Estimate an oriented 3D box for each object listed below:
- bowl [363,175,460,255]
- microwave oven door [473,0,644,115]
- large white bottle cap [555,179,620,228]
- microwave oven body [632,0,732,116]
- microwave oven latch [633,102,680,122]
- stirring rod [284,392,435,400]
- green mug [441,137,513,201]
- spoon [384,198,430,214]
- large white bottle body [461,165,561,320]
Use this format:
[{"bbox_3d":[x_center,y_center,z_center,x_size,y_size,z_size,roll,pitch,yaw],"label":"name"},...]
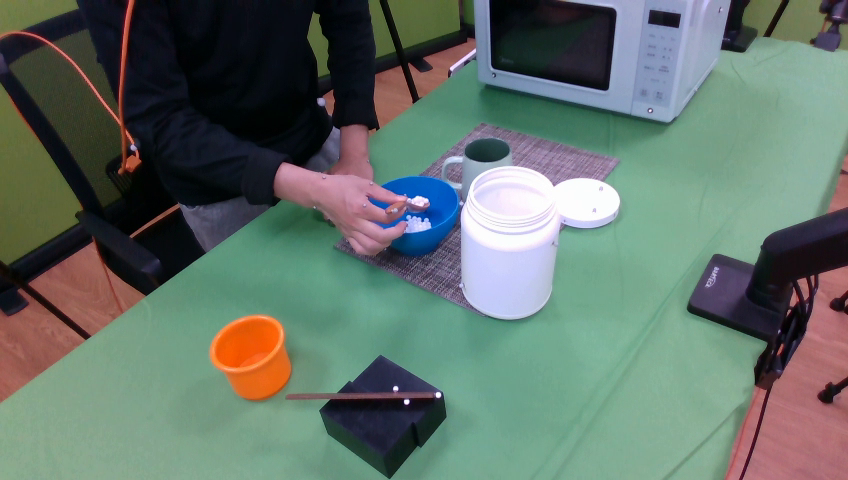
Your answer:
[{"bbox_3d":[-0.016,-0.029,0.955,0.151,0.077,0.150,-4,40,4],"label":"bowl"},{"bbox_3d":[0.257,-0.396,1.199,0.353,0.245,0.039,21,48,29],"label":"microwave oven door"},{"bbox_3d":[0.265,-0.062,1.001,0.115,0.018,0.114,-3,41,3],"label":"large white bottle cap"},{"bbox_3d":[0.377,-0.462,1.267,0.438,0.261,0.327,21,48,30],"label":"microwave oven body"},{"bbox_3d":[0.444,-0.249,1.157,0.078,0.029,0.030,21,49,30],"label":"microwave oven latch"},{"bbox_3d":[-0.075,0.180,0.698,0.176,0.006,0.014,-2,6,7],"label":"stirring rod"},{"bbox_3d":[0.091,-0.108,1.012,0.125,0.105,0.092,2,42,11],"label":"green mug"},{"bbox_3d":[-0.028,-0.050,0.872,0.041,0.021,0.194,3,4,13],"label":"spoon"},{"bbox_3d":[0.115,0.004,0.816,0.130,0.185,0.130,-2,43,2],"label":"large white bottle body"}]
